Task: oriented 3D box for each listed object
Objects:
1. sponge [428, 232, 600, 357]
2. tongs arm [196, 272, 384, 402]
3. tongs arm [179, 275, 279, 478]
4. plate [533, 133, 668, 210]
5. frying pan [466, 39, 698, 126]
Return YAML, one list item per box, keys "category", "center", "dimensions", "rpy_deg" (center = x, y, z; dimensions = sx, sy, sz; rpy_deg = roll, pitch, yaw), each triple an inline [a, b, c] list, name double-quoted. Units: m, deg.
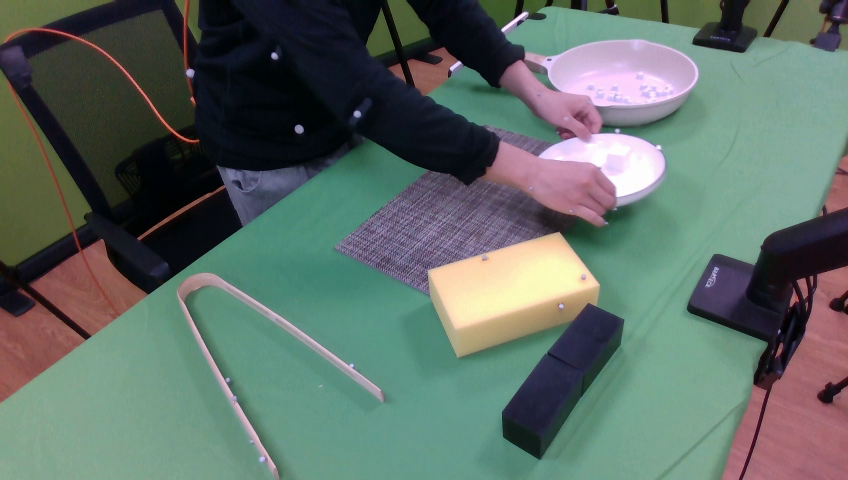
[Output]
- category: "sponge"
  center: [0.120, 0.071, 0.834]
  dimensions: [0.207, 0.061, 0.117]
  rpy_deg: [-16, 43, -12]
- category: "tongs arm"
  center: [-0.198, 0.125, 0.847]
  dimensions: [0.384, 0.028, 0.028]
  rpy_deg: [25, 53, 33]
- category: "tongs arm"
  center: [-0.259, 0.162, 0.807]
  dimensions: [0.051, 0.026, 0.381]
  rpy_deg: [-29, 44, -25]
- category: "plate"
  center: [0.282, -0.106, 0.975]
  dimensions: [0.207, 0.039, 0.206]
  rpy_deg: [-8, 36, 6]
- category: "frying pan"
  center: [0.312, -0.359, 1.277]
  dimensions: [0.485, 0.103, 0.307]
  rpy_deg: [23, 47, 19]
